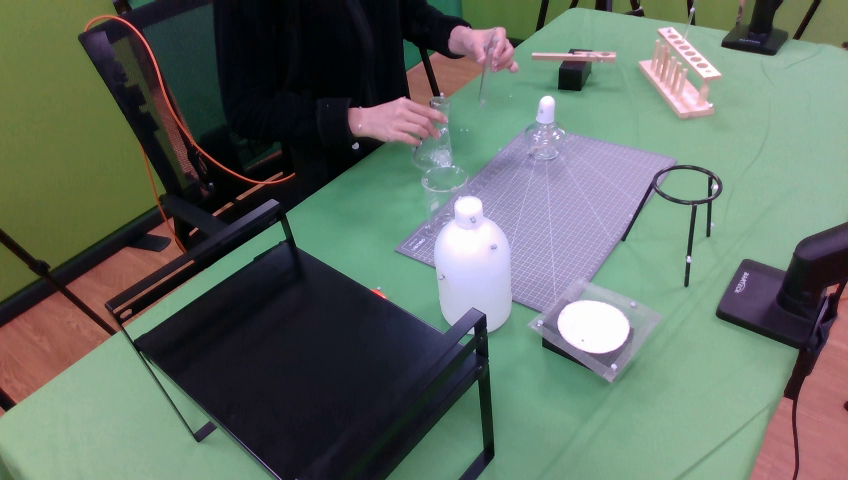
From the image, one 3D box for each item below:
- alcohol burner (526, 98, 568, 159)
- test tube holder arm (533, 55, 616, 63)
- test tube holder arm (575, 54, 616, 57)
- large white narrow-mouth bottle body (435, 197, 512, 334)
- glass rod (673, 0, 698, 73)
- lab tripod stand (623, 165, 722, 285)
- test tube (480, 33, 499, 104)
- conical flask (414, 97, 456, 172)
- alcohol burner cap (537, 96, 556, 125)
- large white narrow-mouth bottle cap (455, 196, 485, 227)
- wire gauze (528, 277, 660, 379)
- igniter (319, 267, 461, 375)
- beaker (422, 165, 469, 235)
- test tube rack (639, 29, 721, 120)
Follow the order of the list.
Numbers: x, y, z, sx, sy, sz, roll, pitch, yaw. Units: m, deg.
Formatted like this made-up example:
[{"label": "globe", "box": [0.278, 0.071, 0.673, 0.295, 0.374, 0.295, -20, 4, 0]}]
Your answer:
[{"label": "alcohol burner", "box": [0.228, -0.210, 1.118, 0.078, 0.119, 0.077, -5, 43, 5]}, {"label": "test tube holder arm", "box": [0.329, -0.398, 1.327, 0.178, 0.015, 0.013, 5, 51, 15]}, {"label": "test tube holder arm", "box": [0.373, -0.398, 1.318, 0.087, 0.015, 0.010, 5, 51, 16]}, {"label": "large white narrow-mouth bottle body", "box": [0.066, 0.028, 0.805, 0.102, 0.195, 0.101, -4, 40, 4]}, {"label": "glass rod", "box": [0.537, -0.425, 1.244, 0.008, 0.200, 0.008, 0, 47, 0]}, {"label": "lab tripod stand", "box": [0.365, -0.030, 0.875, 0.148, 0.132, 0.147, -6, 41, 6]}, {"label": "test tube", "box": [0.116, -0.302, 1.077, 0.017, 0.150, 0.017, 2, 55, -2]}, {"label": "conical flask", "box": [0.024, -0.187, 1.058, 0.075, 0.122, 0.075, 5, 35, -3]}, {"label": "alcohol burner cap", "box": [0.223, -0.237, 1.095, 0.034, 0.048, 0.033, 0, 42, 1]}, {"label": "large white narrow-mouth bottle cap", "box": [0.057, -0.036, 0.749, 0.038, 0.024, 0.037, -4, 40, 4]}, {"label": "wire gauze", "box": [0.213, 0.103, 0.763, 0.124, 0.011, 0.122, 30, 52, 35]}, {"label": "igniter", "box": [-0.060, 0.108, 0.862, 0.274, 0.025, 0.057, 28, 62, 35]}, {"label": "beaker", "box": [0.041, -0.063, 0.986, 0.073, 0.101, 0.084, 20, 47, 29]}, {"label": "test tube rack", "box": [0.527, -0.351, 1.262, 0.067, 0.085, 0.241, -8, 40, 1]}]
